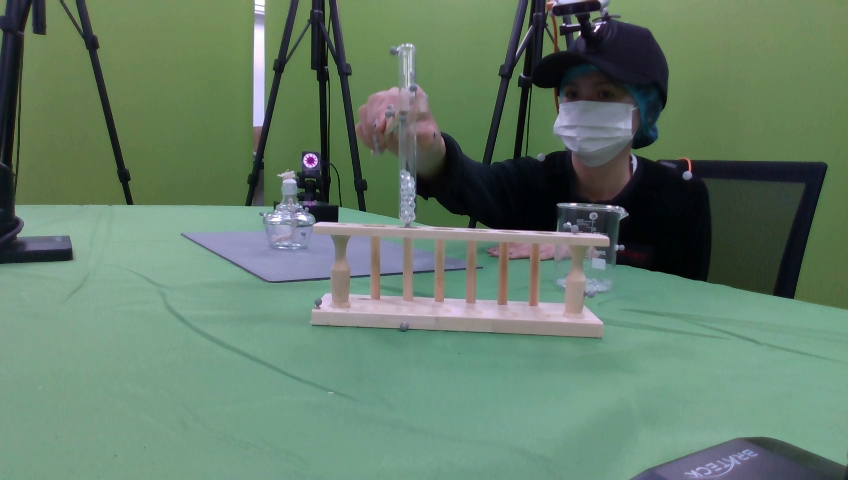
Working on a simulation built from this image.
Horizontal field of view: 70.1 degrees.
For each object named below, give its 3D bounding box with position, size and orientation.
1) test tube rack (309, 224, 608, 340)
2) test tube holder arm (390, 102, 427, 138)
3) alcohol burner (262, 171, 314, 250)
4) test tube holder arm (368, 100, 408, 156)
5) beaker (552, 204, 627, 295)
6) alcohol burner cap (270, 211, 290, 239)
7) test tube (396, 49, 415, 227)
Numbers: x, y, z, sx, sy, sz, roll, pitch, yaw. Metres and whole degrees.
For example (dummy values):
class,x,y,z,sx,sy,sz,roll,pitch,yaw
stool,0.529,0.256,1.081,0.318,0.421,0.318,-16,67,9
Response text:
class,x,y,z,sx,sy,sz,roll,pitch,yaw
test tube rack,0.028,0.032,0.527,0.242,0.085,0.067,3,7,0
test tube holder arm,-0.018,-0.104,0.532,0.010,0.015,0.087,3,-4,-22
alcohol burner,-0.205,-0.044,0.913,0.078,0.119,0.078,1,9,0
test tube holder arm,-0.037,-0.102,0.573,0.013,0.015,0.178,3,-4,-14
beaker,0.191,0.010,0.708,0.083,0.100,0.074,8,9,33
alcohol burner cap,-0.246,-0.025,1.035,0.034,0.048,0.034,2,8,0
test tube,-0.015,-0.086,0.508,0.017,0.150,0.017,0,-2,0
